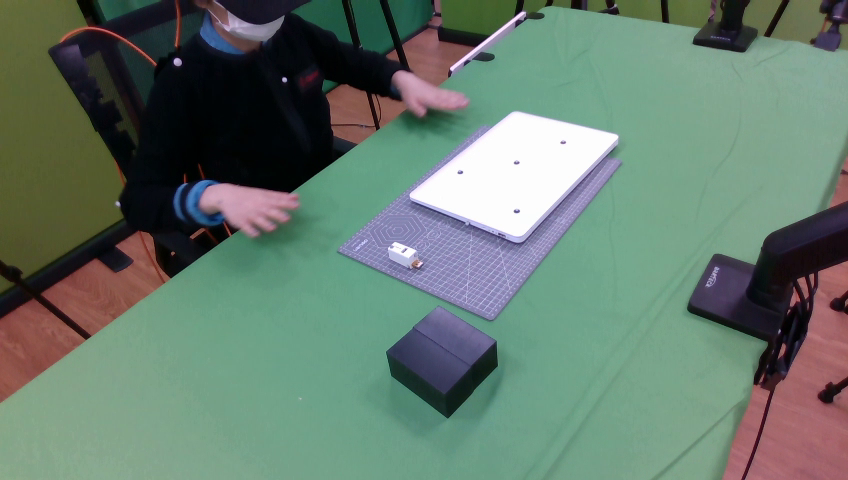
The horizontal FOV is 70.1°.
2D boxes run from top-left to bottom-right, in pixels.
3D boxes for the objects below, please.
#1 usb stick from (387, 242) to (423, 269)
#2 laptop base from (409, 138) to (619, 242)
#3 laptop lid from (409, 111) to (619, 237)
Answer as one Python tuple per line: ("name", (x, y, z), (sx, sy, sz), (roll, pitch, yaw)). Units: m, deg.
("usb stick", (-0.028, 0.026, 0.934), (0.059, 0.027, 0.021), (25, 49, 29))
("laptop base", (0.170, -0.126, 1.096), (0.233, 0.023, 0.355), (21, 47, 34))
("laptop lid", (0.167, -0.136, 1.089), (0.239, 0.013, 0.358), (24, 49, 34))
